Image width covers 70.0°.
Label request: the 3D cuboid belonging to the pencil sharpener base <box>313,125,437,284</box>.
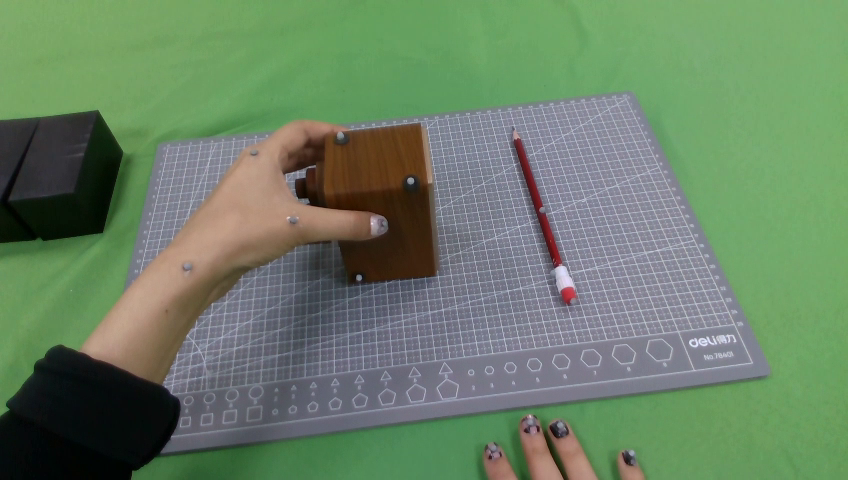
[{"bbox_3d":[-0.033,-0.021,0.435,0.077,0.108,0.060,-6,52,-1],"label":"pencil sharpener base"}]

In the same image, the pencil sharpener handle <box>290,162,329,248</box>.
[{"bbox_3d":[-0.084,-0.021,0.422,0.030,0.068,0.035,-6,39,0],"label":"pencil sharpener handle"}]

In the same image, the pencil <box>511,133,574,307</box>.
[{"bbox_3d":[0.092,-0.026,0.495,0.012,0.012,0.192,-7,50,-2],"label":"pencil"}]
